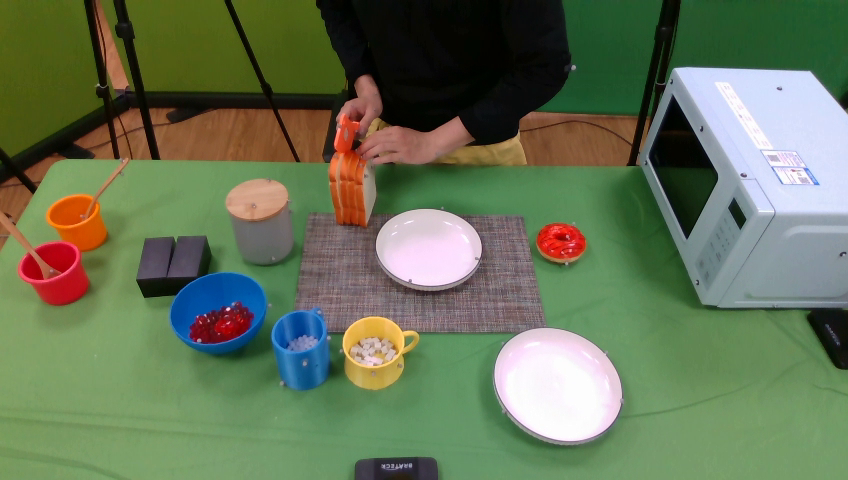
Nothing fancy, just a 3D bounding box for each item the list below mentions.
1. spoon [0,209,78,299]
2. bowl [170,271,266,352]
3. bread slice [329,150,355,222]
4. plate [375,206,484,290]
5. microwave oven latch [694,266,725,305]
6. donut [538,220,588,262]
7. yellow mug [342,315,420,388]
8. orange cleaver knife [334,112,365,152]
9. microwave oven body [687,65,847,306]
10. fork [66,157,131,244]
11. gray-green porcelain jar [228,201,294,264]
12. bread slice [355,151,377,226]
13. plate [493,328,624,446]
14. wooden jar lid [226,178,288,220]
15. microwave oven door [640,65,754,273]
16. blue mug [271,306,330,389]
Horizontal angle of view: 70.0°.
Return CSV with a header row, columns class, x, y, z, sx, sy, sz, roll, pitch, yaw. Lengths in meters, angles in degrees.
class,x,y,z,sx,sy,sz,roll,pitch,yaw
spoon,-0.668,0.021,1.040,0.041,0.021,0.194,-41,105,-30
bowl,-0.333,0.132,1.006,0.151,0.077,0.150,2,46,-2
bread slice,-0.166,-0.118,1.219,0.019,0.132,0.104,3,41,9
plate,0.009,0.019,1.160,0.209,0.038,0.208,2,47,-2
microwave oven latch,0.523,0.082,1.115,0.030,0.029,0.078,3,46,0
donut,0.273,0.000,1.198,0.099,0.048,0.098,0,47,0
yellow mug,-0.068,0.177,0.990,0.131,0.064,0.099,-15,50,-19
orange cleaver knife,-0.146,-0.212,1.196,0.012,0.077,0.211,14,11,3
microwave oven body,0.669,-0.111,1.176,0.326,0.261,0.439,0,46,-3
fork,-0.608,-0.074,1.132,0.207,0.019,0.028,-52,48,10
gray-green porcelain jar,-0.299,-0.027,1.126,0.106,0.127,0.105,2,46,-2
bread slice,-0.116,-0.109,1.212,0.018,0.135,0.106,6,46,7
plate,0.213,0.236,0.974,0.208,0.039,0.206,2,46,-2
wooden jar lid,-0.296,-0.070,1.081,0.108,0.021,0.107,1,45,0
microwave oven door,0.523,-0.147,1.193,0.039,0.245,0.353,0,47,-3
blue mug,-0.188,0.163,0.969,0.082,0.106,0.116,15,47,10
